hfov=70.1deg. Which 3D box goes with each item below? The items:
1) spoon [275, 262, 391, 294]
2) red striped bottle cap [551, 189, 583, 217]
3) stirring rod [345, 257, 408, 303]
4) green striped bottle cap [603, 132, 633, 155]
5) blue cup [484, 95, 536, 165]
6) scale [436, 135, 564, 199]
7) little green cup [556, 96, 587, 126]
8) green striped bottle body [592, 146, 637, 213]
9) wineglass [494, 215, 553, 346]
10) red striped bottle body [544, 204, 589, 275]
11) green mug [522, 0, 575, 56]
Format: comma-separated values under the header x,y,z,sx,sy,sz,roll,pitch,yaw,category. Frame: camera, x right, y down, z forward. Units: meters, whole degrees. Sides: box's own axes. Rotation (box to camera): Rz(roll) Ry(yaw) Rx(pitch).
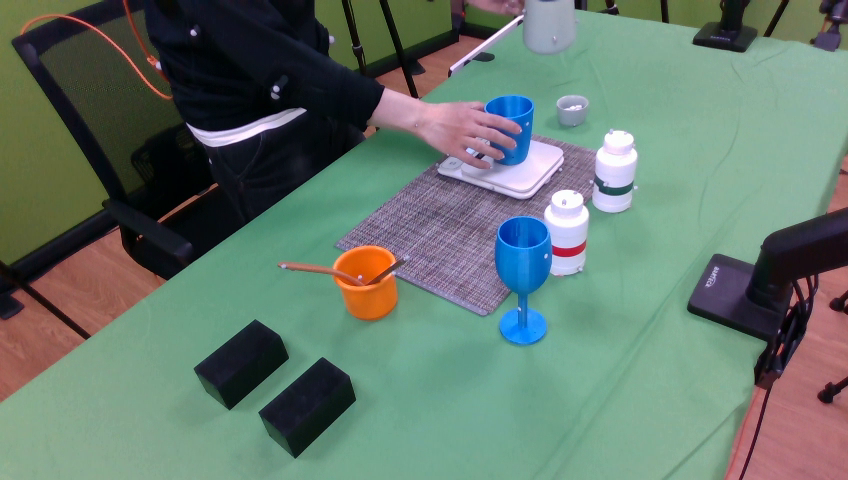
x,y,z,sx,sy,sz,roll,pitch,yaw,category
-0.120,0.050,0.830,0.041,0.195,0.021,31,97,45,spoon
0.200,-0.052,0.843,0.044,0.018,0.044,-2,42,2,red striped bottle cap
-0.067,0.056,0.814,0.014,0.175,0.006,-22,81,-37,stirring rod
0.302,-0.150,0.939,0.044,0.020,0.044,-3,40,3,green striped bottle cap
0.149,-0.188,1.052,0.092,0.100,0.092,-4,38,4,blue cup
0.137,-0.142,1.101,0.199,0.032,0.149,22,48,30,scale
0.295,-0.258,1.214,0.061,0.039,0.061,-5,41,5,little green cup
0.307,-0.108,0.976,0.063,0.120,0.063,-4,41,4,green striped bottle body
0.127,0.055,0.770,0.074,0.173,0.073,-4,40,4,wineglass
0.206,-0.011,0.877,0.063,0.120,0.062,-5,41,4,red striped bottle body
0.209,-0.395,1.058,0.093,0.105,0.124,-23,52,-7,green mug
